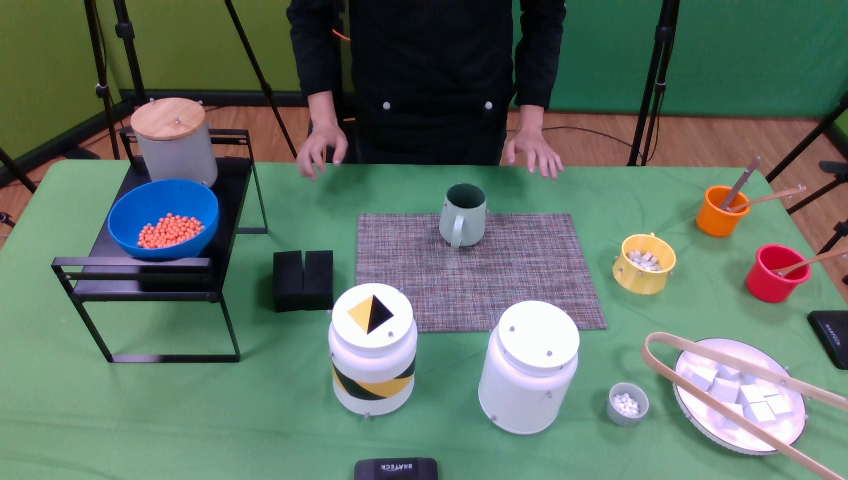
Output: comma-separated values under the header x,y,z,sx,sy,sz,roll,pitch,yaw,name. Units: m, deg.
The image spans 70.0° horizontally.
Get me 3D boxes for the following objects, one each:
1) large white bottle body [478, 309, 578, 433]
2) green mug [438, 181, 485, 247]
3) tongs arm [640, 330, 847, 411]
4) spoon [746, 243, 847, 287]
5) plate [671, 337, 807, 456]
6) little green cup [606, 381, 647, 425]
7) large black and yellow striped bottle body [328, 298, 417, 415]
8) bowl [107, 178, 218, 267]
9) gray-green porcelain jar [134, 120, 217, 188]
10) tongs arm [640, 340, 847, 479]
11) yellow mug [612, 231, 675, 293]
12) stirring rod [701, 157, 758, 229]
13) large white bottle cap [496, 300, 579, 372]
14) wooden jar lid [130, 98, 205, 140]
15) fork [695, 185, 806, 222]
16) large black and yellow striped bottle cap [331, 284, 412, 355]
x,y,z,sx,sy,sz,roll,pitch,yaw,name
0.156,0.192,0.913,0.131,0.185,0.130,2,46,-2,large white bottle body
0.071,-0.039,1.177,0.092,0.105,0.124,12,47,7,green mug
0.543,0.226,0.969,0.384,0.026,0.050,22,52,14,tongs arm
0.702,0.044,1.126,0.194,0.022,0.041,-29,38,30,spoon
0.503,0.254,0.984,0.208,0.039,0.206,2,46,-2,plate
0.319,0.261,0.962,0.061,0.039,0.061,2,45,-2,little green cup
-0.078,0.167,0.920,0.131,0.185,0.130,2,46,-2,large black and yellow striped bottle body
-0.374,-0.014,0.893,0.151,0.077,0.150,2,46,-2,bowl
-0.397,-0.141,0.980,0.106,0.127,0.105,2,47,-2,gray-green porcelain jar
0.500,0.277,0.920,0.386,0.028,0.028,34,59,22,tongs arm
0.424,0.033,1.168,0.100,0.064,0.130,18,47,14,yellow mug
0.634,-0.096,1.257,0.014,0.006,0.176,38,97,30,stirring rod
0.160,0.133,0.852,0.115,0.018,0.114,3,46,-2,large white bottle cap
-0.393,-0.183,0.934,0.108,0.021,0.107,2,44,-2,wooden jar lid
0.658,-0.074,1.230,0.207,0.019,0.028,-23,36,37,fork
-0.073,0.110,0.858,0.115,0.019,0.114,2,46,-2,large black and yellow striped bottle cap
